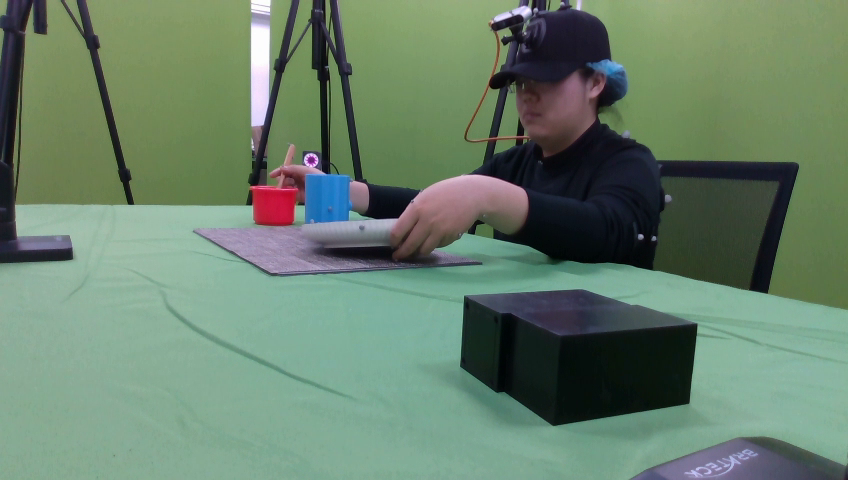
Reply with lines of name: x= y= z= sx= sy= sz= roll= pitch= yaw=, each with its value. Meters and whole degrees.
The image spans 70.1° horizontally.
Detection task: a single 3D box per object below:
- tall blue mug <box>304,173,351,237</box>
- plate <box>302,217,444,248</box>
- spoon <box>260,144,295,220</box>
tall blue mug: x=-0.178 y=-0.062 z=1.062 sx=0.078 sy=0.108 sz=0.106 roll=-4 pitch=10 yaw=-38
plate: x=-0.073 y=-0.010 z=0.894 sx=0.208 sy=0.039 sz=0.207 roll=-2 pitch=1 yaw=0
spoon: x=-0.300 y=-0.124 z=1.273 sx=0.042 sy=0.193 sz=0.021 roll=16 pitch=-24 yaw=-8
